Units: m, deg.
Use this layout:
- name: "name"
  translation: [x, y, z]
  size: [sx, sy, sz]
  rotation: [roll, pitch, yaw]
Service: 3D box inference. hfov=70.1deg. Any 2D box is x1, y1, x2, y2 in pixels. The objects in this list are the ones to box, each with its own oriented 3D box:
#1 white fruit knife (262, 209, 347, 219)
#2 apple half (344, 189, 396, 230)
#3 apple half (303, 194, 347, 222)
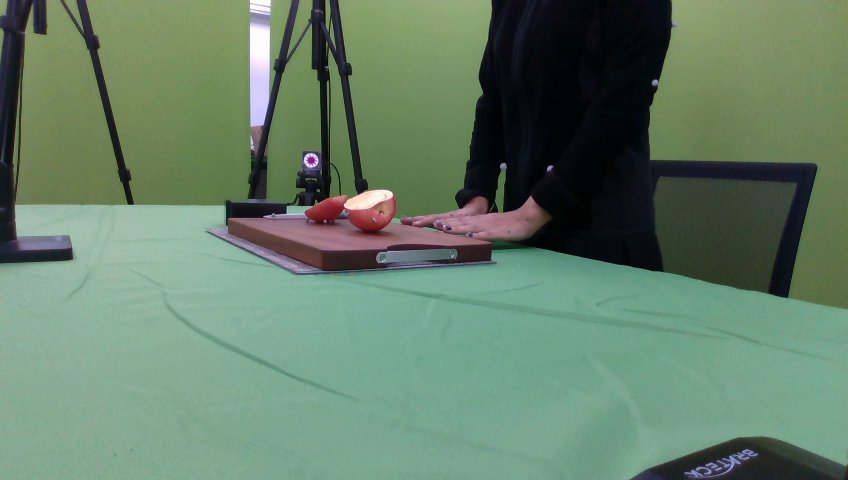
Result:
- name: "white fruit knife"
  translation: [-0.198, -0.047, 1.113]
  size: [0.208, 0.016, 0.027]
  rotation: [-5, -18, -35]
- name: "apple half"
  translation: [-0.084, -0.044, 0.954]
  size: [0.081, 0.053, 0.074]
  rotation: [-31, 31, -34]
- name: "apple half"
  translation: [-0.166, -0.051, 1.051]
  size: [0.081, 0.033, 0.081]
  rotation: [-21, -2, -1]
